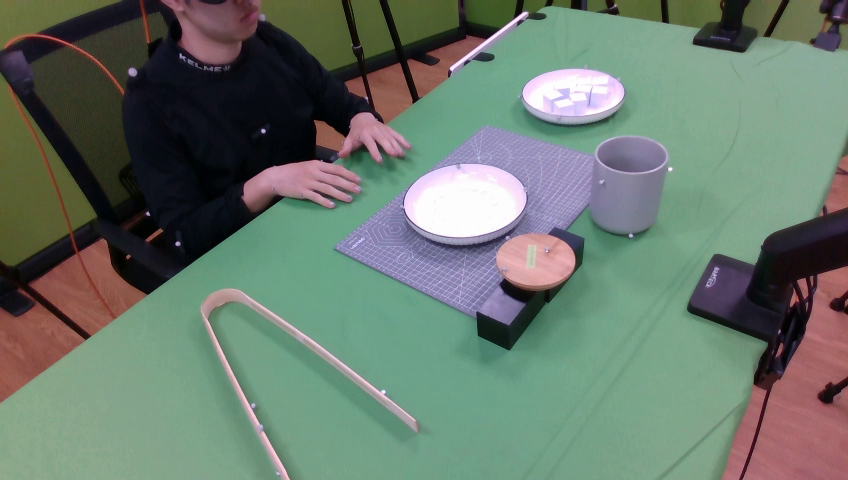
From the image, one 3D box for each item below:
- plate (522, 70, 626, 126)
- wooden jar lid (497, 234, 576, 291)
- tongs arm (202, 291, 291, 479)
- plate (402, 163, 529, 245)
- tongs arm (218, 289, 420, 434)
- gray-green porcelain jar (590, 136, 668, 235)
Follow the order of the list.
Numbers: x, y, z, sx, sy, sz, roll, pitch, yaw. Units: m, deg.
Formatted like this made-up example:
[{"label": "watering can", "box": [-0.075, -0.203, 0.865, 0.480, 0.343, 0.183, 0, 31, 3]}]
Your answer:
[{"label": "plate", "box": [0.308, -0.290, 1.251, 0.207, 0.039, 0.206, -4, 40, 4]}, {"label": "wooden jar lid", "box": [0.155, 0.032, 0.834, 0.108, 0.021, 0.108, -5, 40, 5]}, {"label": "tongs arm", "box": [-0.216, 0.187, 0.772, 0.051, 0.026, 0.381, -28, 44, -24]}, {"label": "plate", "box": [0.069, -0.056, 1.008, 0.209, 0.038, 0.208, -4, 40, 4]}, {"label": "tongs arm", "box": [-0.153, 0.151, 0.811, 0.384, 0.028, 0.028, 26, 53, 33]}, {"label": "gray-green porcelain jar", "box": [0.314, -0.080, 0.937, 0.106, 0.127, 0.105, -4, 41, 4]}]
